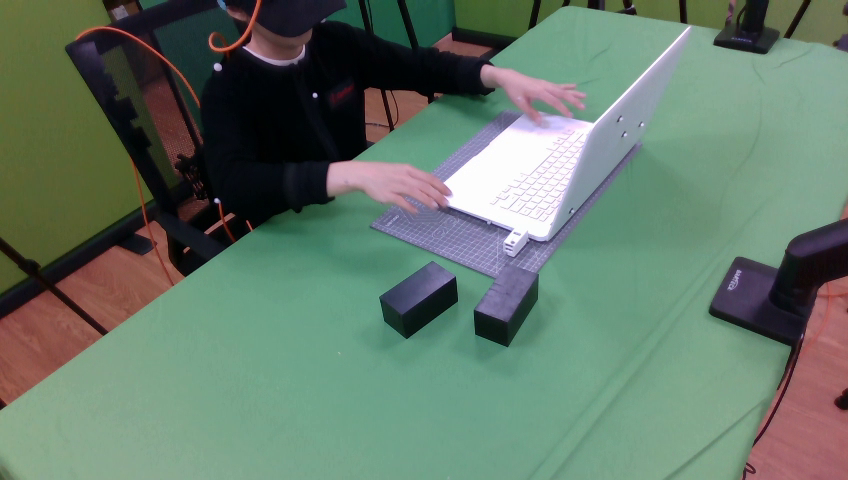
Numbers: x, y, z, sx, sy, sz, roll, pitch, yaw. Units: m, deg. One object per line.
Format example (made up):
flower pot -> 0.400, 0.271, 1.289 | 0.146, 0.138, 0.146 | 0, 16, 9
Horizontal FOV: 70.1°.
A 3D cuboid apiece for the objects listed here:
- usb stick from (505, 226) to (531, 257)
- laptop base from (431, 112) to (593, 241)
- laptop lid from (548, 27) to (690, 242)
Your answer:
usb stick -> 0.150, -0.002, 0.940 | 0.021, 0.027, 0.059 | 22, 46, 31
laptop base -> 0.207, -0.129, 1.100 | 0.233, 0.023, 0.355 | 20, 47, 33
laptop lid -> 0.310, -0.168, 0.950 | 0.013, 0.242, 0.358 | 33, 52, 20
